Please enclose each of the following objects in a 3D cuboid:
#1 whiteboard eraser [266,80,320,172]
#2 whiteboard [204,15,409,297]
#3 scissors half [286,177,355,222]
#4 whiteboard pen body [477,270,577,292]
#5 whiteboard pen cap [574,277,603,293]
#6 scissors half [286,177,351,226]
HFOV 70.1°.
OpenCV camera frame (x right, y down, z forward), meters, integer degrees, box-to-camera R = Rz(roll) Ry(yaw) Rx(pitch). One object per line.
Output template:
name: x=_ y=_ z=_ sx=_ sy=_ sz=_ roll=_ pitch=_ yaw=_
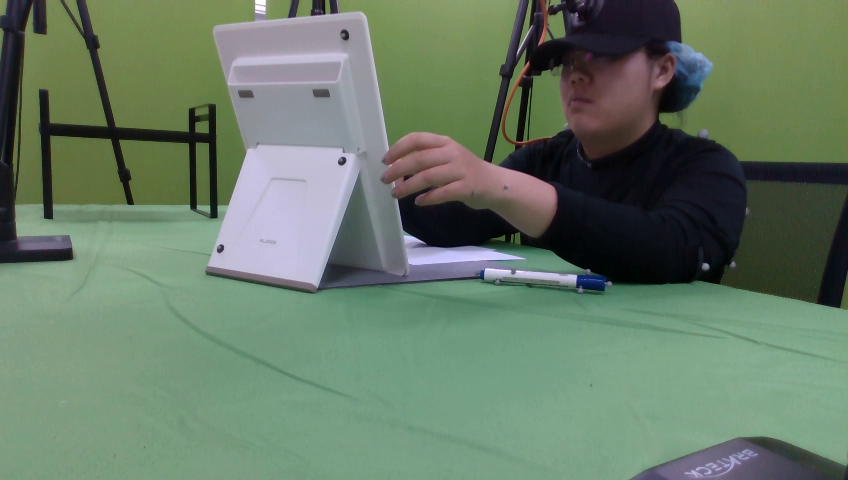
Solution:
whiteboard eraser: x=-0.165 y=-0.141 z=0.757 sx=0.055 sy=0.112 sz=0.042 roll=10 pitch=27 yaw=24
whiteboard: x=-0.166 y=-0.072 z=0.669 sx=0.216 sy=0.305 sz=0.144 roll=8 pitch=30 yaw=30
scissors half: x=-0.229 y=-0.091 z=1.337 sx=0.175 sy=0.013 sz=0.040 roll=33 pitch=14 yaw=-13
whiteboard pen body: x=0.131 y=0.048 z=0.705 sx=0.140 sy=0.017 sz=0.017 roll=4 pitch=8 yaw=18
whiteboard pen cap: x=0.186 y=0.051 z=0.687 sx=0.033 sy=0.018 sz=0.018 roll=5 pitch=8 yaw=17
scissors half: x=-0.232 y=-0.085 z=1.318 sx=0.175 sy=0.013 sz=0.040 roll=37 pitch=19 yaw=5
